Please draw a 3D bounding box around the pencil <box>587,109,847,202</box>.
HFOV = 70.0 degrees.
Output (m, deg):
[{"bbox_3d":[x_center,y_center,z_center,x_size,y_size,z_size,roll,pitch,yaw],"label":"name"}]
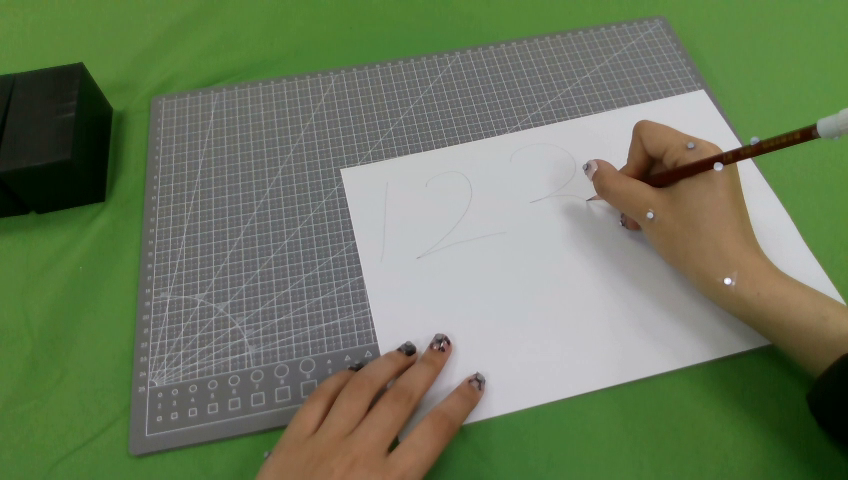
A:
[{"bbox_3d":[0.161,-0.043,0.352,0.012,0.193,0.012,5,79,-27],"label":"pencil"}]
